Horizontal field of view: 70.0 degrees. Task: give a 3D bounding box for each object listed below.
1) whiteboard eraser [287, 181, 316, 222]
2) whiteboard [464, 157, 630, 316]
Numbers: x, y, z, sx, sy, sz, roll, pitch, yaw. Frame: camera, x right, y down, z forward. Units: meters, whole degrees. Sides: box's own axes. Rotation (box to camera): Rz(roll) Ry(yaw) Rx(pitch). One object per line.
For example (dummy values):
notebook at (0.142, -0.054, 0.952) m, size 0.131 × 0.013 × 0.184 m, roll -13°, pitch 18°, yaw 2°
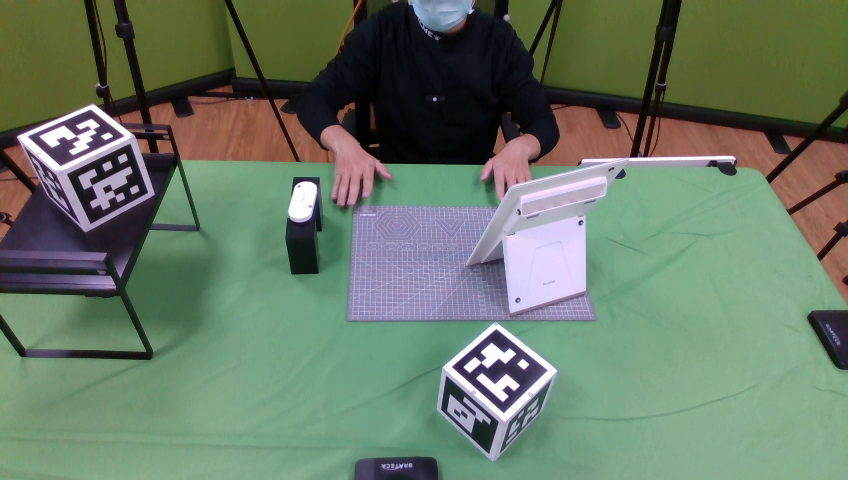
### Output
whiteboard eraser at (-0.224, -0.071, 1.111) m, size 0.041 × 0.019 × 0.100 m, roll 3°, pitch 45°, yaw 0°
whiteboard at (0.223, 0.014, 1.041) m, size 0.217 × 0.306 × 0.143 m, roll -14°, pitch 68°, yaw -17°
